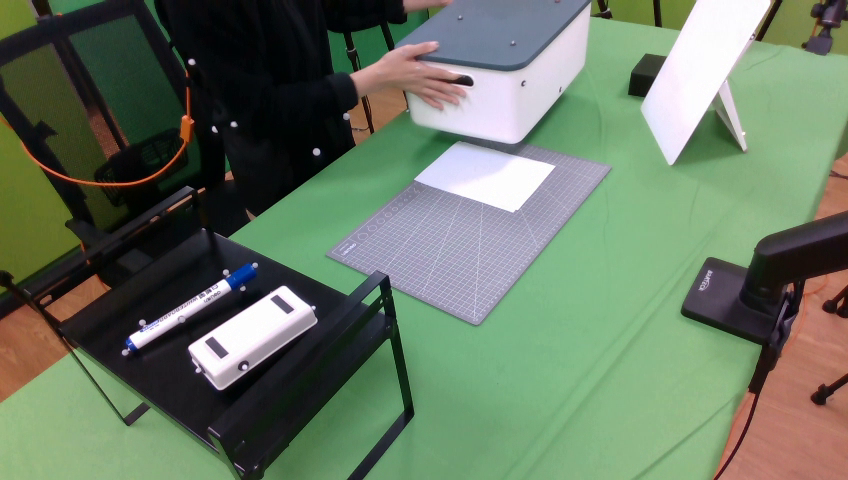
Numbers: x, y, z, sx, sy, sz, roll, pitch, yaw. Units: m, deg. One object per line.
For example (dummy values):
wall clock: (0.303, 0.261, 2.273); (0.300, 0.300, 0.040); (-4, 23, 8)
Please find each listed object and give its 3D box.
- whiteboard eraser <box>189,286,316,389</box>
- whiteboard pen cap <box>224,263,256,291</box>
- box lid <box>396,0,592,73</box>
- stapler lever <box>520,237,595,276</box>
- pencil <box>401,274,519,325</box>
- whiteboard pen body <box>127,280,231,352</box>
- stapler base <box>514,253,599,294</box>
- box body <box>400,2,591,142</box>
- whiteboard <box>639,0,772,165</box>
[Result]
whiteboard eraser: (-0.166, 0.096, 0.593); (0.113, 0.042, 0.055); (-36, 47, -29)
whiteboard pen cap: (-0.204, 0.041, 0.668); (0.033, 0.018, 0.018); (-36, 48, -22)
box lid: (0.144, -0.417, 1.151); (0.261, 0.015, 0.372); (17, 47, 27)
stapler lever: (0.193, 0.018, 0.875); (0.118, 0.040, 0.026); (-21, 43, -17)
pencil: (0.056, 0.082, 0.872); (0.195, 0.012, 0.012); (-20, 42, -19)
whiteboard pen body: (-0.248, 0.072, 0.645); (0.141, 0.017, 0.017); (-35, 47, -23)
stapler base: (0.195, 0.039, 0.891); (0.131, 0.024, 0.041); (-22, 43, -16)
box body: (0.153, -0.359, 1.198); (0.252, 0.161, 0.364); (16, 46, 27)
whiteboard: (0.543, -0.298, 1.076); (0.144, 0.305, 0.216); (12, 40, -7)
